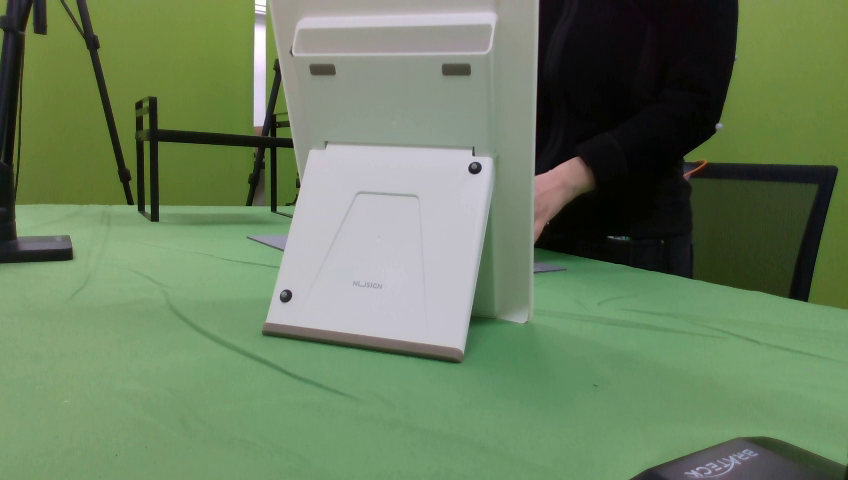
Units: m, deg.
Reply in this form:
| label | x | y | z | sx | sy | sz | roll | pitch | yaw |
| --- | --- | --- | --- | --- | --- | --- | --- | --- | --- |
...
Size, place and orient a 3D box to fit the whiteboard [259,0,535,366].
| label | x | y | z | sx | sy | sz | roll | pitch | yaw |
| --- | --- | --- | --- | --- | --- | --- | --- | --- | --- |
| whiteboard | -0.037 | -0.040 | 0.457 | 0.216 | 0.305 | 0.144 | 5 | 28 | 19 |

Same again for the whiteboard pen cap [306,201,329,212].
| label | x | y | z | sx | sy | sz | roll | pitch | yaw |
| --- | --- | --- | --- | --- | --- | --- | --- | --- | --- |
| whiteboard pen cap | -0.161 | -0.051 | 0.918 | 0.033 | 0.018 | 0.018 | -3 | 9 | -19 |

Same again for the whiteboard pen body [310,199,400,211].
| label | x | y | z | sx | sy | sz | roll | pitch | yaw |
| --- | --- | --- | --- | --- | --- | --- | --- | --- | --- |
| whiteboard pen body | -0.106 | -0.054 | 0.938 | 0.141 | 0.017 | 0.017 | -2 | 9 | -18 |
